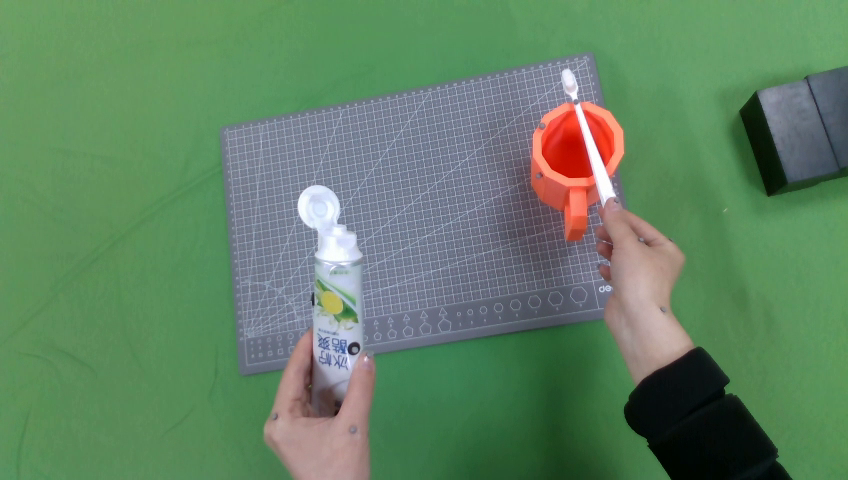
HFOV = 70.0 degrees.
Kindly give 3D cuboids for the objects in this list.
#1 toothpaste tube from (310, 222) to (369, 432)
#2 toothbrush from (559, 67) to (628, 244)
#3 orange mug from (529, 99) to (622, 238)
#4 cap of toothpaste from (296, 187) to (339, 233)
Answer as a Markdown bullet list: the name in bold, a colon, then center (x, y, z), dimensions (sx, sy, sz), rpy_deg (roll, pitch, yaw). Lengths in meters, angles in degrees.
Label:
- **toothpaste tube**: center (-0.067, 0.067, 0.460), dimensions (0.055, 0.034, 0.165), rpy_deg (9, 107, 28)
- **toothbrush**: center (0.156, -0.081, 0.561), dimensions (0.014, 0.017, 0.180), rpy_deg (-18, 74, 12)
- **orange mug**: center (0.152, -0.068, 0.618), dimensions (0.083, 0.101, 0.125), rpy_deg (-2, 75, 8)
- **cap of toothpaste**: center (-0.078, -0.023, 0.453), dimensions (0.037, 0.011, 0.037), rpy_deg (6, 80, -36)
